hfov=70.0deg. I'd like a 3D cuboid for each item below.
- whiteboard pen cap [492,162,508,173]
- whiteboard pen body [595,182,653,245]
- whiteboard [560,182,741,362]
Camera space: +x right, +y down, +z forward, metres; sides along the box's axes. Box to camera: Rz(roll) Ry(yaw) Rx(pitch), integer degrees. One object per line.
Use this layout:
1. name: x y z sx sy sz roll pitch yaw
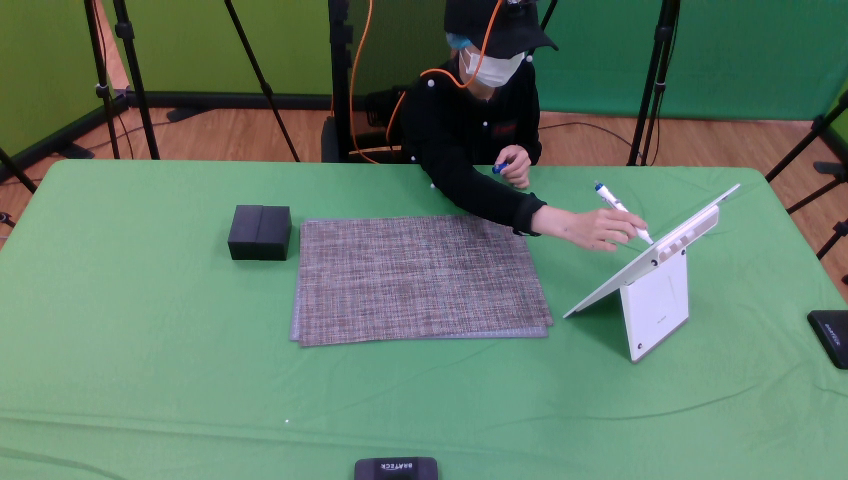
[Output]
1. whiteboard pen cap: 0.162 -0.156 1.303 0.033 0.018 0.018 -19 51 -15
2. whiteboard pen body: 0.334 -0.041 1.002 0.141 0.017 0.017 46 54 -3
3. whiteboard: 0.406 0.075 1.001 0.217 0.306 0.143 -28 73 -28
